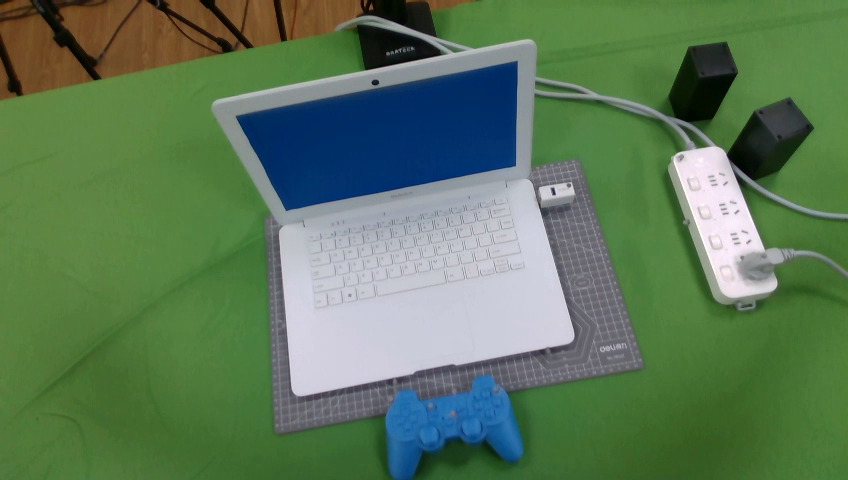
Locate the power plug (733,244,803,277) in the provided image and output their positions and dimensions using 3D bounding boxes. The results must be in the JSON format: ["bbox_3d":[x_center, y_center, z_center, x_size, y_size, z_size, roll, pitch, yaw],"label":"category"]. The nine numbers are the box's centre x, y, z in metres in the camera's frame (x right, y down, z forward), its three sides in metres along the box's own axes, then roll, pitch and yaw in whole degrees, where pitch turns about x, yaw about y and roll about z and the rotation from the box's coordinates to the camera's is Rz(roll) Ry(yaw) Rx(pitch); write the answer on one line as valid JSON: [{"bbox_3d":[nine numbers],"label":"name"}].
[{"bbox_3d":[0.410,0.028,0.727,0.072,0.053,0.035,3,66,2],"label":"power plug"}]

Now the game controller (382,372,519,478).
[{"bbox_3d":[0.026,0.209,0.695,0.155,0.052,0.096,-10,63,0],"label":"game controller"}]

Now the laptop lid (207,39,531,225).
[{"bbox_3d":[-0.047,-0.116,0.732,0.357,0.244,0.013,-12,57,1],"label":"laptop lid"}]

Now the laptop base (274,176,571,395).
[{"bbox_3d":[-0.012,0.052,0.784,0.354,0.023,0.233,-11,69,0],"label":"laptop base"}]

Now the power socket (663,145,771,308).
[{"bbox_3d":[0.371,-0.025,0.776,0.072,0.033,0.225,-10,65,2],"label":"power socket"}]

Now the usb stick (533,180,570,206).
[{"bbox_3d":[0.162,-0.061,0.805,0.059,0.027,0.021,-12,66,4],"label":"usb stick"}]
